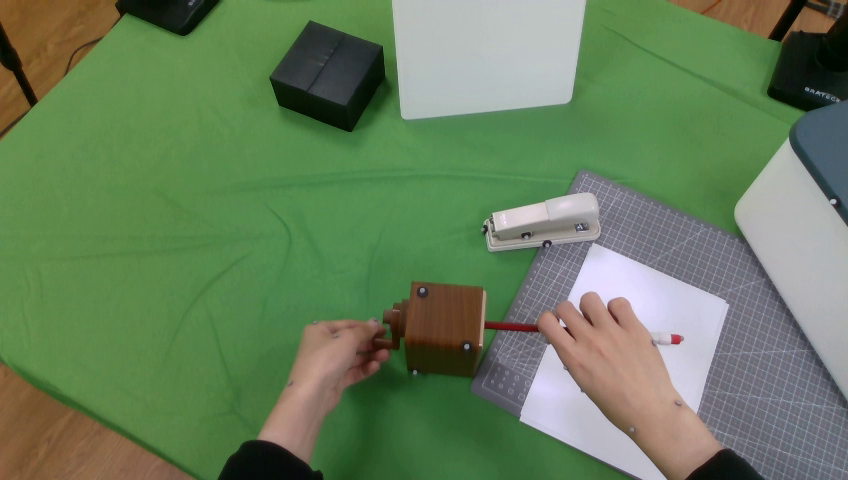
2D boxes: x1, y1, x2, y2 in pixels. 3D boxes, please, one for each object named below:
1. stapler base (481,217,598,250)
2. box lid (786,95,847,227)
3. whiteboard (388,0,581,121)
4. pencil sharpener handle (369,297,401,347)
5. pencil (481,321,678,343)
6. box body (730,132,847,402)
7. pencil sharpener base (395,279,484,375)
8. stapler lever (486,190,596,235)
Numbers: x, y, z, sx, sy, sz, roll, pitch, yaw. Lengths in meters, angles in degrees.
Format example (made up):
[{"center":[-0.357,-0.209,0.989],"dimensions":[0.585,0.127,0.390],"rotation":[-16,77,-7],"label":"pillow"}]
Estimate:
[{"center":[0.130,-0.018,0.676],"dimensions":[0.130,0.024,0.041],"rotation":[-7,60,-1],"label":"stapler base"},{"center":[0.509,0.004,0.513],"dimensions":[0.263,0.015,0.368],"rotation":[-17,67,-10],"label":"box lid"},{"center":[0.062,-0.317,0.698],"dimensions":[0.217,0.308,0.142],"rotation":[-6,45,-3],"label":"whiteboard"},{"center":[-0.038,0.079,0.569],"dimensions":[0.030,0.068,0.035],"rotation":[5,48,3],"label":"pencil sharpener handle"},{"center":[0.130,0.082,0.548],"dimensions":[0.194,0.012,0.012],"rotation":[3,64,2],"label":"pencil"},{"center":[0.509,0.038,0.579],"dimensions":[0.254,0.161,0.361],"rotation":[-18,66,-10],"label":"box body"},{"center":[0.014,0.086,0.581],"dimensions":[0.076,0.108,0.061],"rotation":[5,65,2],"label":"pencil sharpener base"},{"center":[0.127,-0.029,0.654],"dimensions":[0.118,0.040,0.026],"rotation":[-7,60,-1],"label":"stapler lever"}]
